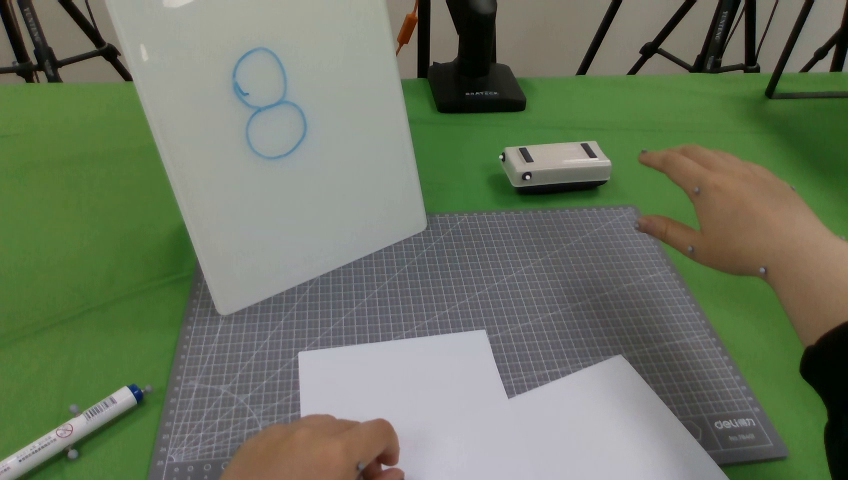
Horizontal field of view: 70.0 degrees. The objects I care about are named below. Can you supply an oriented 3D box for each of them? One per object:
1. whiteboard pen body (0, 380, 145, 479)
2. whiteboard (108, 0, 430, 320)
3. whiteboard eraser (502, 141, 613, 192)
[{"bbox_3d":[-0.255,0.138,0.403,0.017,0.017,0.141,33,47,29],"label":"whiteboard pen body"},{"bbox_3d":[-0.143,-0.126,0.547,0.217,0.307,0.142,-24,28,-27],"label":"whiteboard"},{"bbox_3d":[0.148,-0.081,0.674,0.113,0.042,0.055,-4,44,-10],"label":"whiteboard eraser"}]
